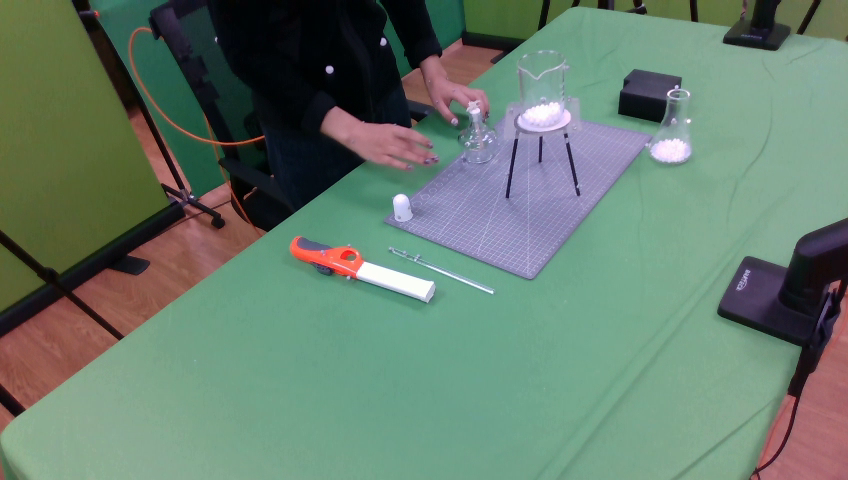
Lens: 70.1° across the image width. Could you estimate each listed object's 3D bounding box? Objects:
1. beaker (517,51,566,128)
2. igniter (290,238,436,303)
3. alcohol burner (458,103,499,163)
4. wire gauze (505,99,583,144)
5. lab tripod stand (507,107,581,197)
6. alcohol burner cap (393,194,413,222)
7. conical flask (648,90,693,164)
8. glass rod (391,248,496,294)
[{"bbox_3d":[0.186,-0.235,0.957,0.073,0.101,0.084,4,42,18],"label":"beaker"},{"bbox_3d":[-0.106,0.044,0.949,0.274,0.025,0.057,16,57,27],"label":"igniter"},{"bbox_3d":[0.100,-0.205,1.132,0.078,0.120,0.077,-6,42,6],"label":"alcohol burner"},{"bbox_3d":[0.195,-0.199,0.988,0.121,0.011,0.124,-3,41,13],"label":"wire gauze"},{"bbox_3d":[0.201,-0.151,1.033,0.148,0.132,0.147,-7,39,6],"label":"lab tripod stand"},{"bbox_3d":[-0.038,-0.057,1.038,0.034,0.048,0.033,-5,40,5],"label":"alcohol burner cap"},{"bbox_3d":[0.437,-0.199,1.057,0.075,0.122,0.075,-5,40,5],"label":"conical flask"},{"bbox_3d":[0.026,0.046,0.937,0.198,0.008,0.008,22,50,31],"label":"glass rod"}]
